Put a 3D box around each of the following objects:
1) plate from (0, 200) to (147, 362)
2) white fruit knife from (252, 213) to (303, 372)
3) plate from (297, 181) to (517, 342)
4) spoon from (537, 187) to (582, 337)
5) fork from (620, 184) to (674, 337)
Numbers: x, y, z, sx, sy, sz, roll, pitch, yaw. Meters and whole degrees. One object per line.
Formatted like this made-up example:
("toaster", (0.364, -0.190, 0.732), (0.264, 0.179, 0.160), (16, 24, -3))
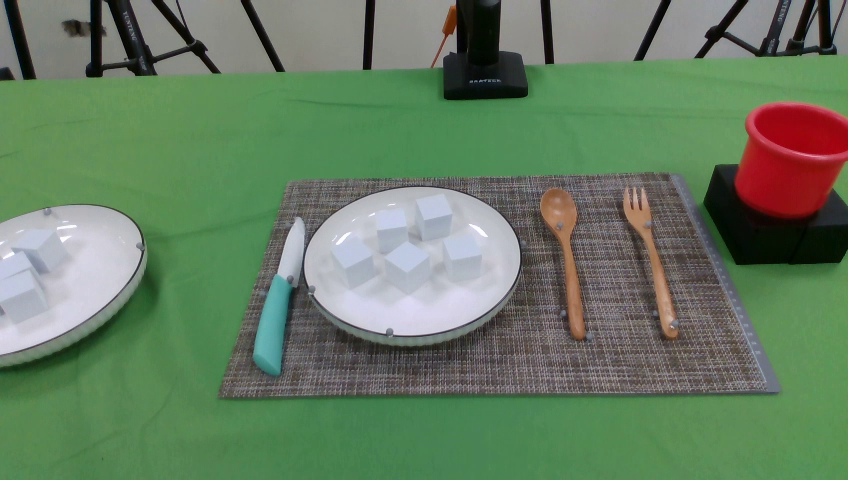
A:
("plate", (-0.374, 0.039, 0.587), (0.209, 0.038, 0.207), (-1, 42, 1))
("white fruit knife", (-0.138, 0.040, 0.588), (0.027, 0.016, 0.205), (20, 38, -18))
("plate", (-0.015, 0.020, 0.584), (0.207, 0.039, 0.205), (-1, 43, 2))
("spoon", (0.137, 0.014, 0.594), (0.042, 0.022, 0.192), (14, 42, -8))
("fork", (0.219, 0.011, 0.595), (0.028, 0.019, 0.205), (6, 41, 1))
